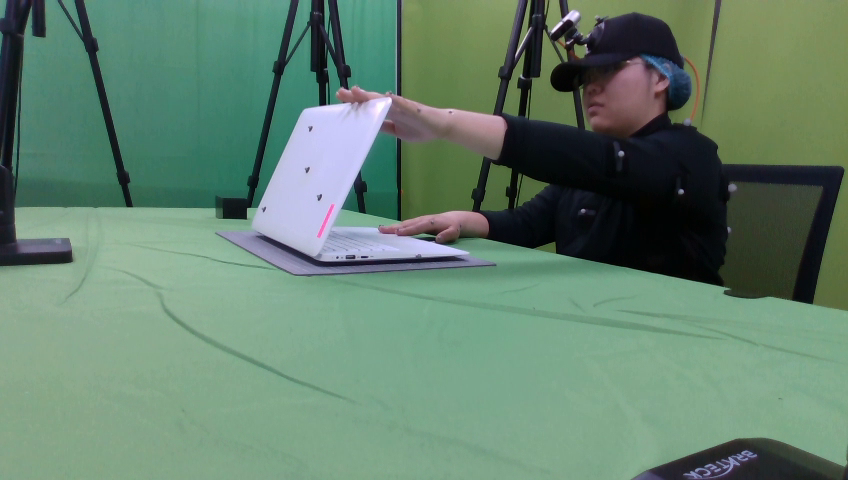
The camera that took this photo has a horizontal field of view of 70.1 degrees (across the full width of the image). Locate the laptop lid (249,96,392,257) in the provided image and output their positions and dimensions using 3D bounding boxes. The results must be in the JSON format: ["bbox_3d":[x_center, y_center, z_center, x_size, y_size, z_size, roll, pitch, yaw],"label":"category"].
[{"bbox_3d":[-0.175,-0.105,0.920,0.013,0.241,0.355,28,-5,-30],"label":"laptop lid"}]

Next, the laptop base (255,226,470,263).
[{"bbox_3d":[-0.117,0.005,0.970,0.237,0.023,0.352,2,6,-30],"label":"laptop base"}]
